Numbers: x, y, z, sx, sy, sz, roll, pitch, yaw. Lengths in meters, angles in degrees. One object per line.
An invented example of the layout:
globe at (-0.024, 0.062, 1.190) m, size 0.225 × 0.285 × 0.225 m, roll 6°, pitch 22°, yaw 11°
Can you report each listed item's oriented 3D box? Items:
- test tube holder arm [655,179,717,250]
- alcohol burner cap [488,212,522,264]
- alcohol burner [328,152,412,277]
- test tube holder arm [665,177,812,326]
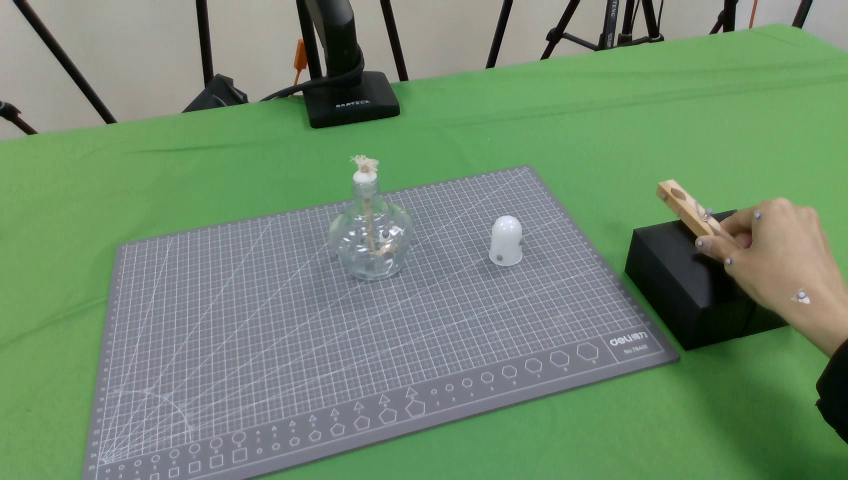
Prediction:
test tube holder arm at (0.231, -0.024, 0.530) m, size 0.010 × 0.015 × 0.087 m, roll -21°, pitch 44°, yaw -4°
alcohol burner cap at (0.077, -0.004, 0.567) m, size 0.034 × 0.048 × 0.033 m, roll -2°, pitch 40°, yaw 2°
alcohol burner at (-0.050, -0.025, 0.543) m, size 0.078 × 0.120 × 0.077 m, roll -2°, pitch 39°, yaw 2°
test tube holder arm at (0.250, 0.002, 0.498) m, size 0.013 × 0.015 × 0.176 m, roll -22°, pitch 44°, yaw -5°
